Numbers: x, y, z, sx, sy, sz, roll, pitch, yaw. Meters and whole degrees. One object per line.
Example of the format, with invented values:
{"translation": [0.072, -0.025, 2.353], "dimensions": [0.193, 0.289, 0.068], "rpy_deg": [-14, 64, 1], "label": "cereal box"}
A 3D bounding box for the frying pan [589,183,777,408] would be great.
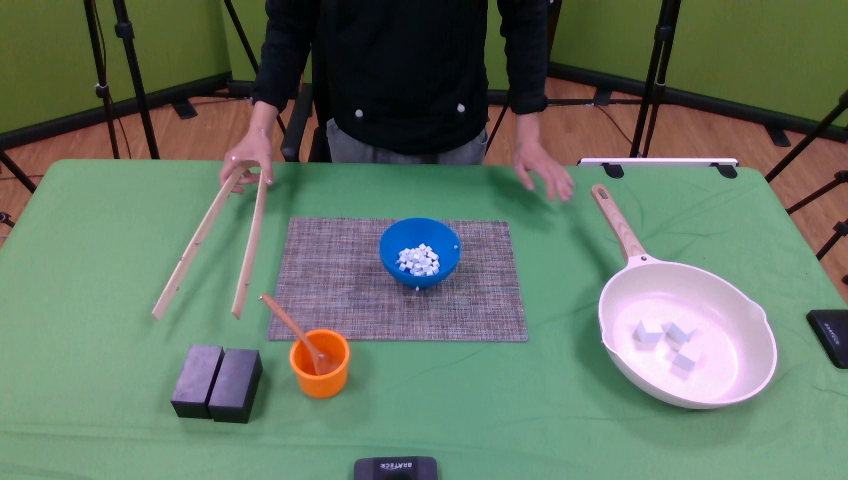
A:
{"translation": [0.412, 0.079, 1.096], "dimensions": [0.307, 0.103, 0.484], "rpy_deg": [-8, 56, -13], "label": "frying pan"}

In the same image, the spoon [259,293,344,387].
{"translation": [-0.191, 0.155, 0.947], "dimensions": [0.021, 0.194, 0.041], "rpy_deg": [-12, 28, 51], "label": "spoon"}

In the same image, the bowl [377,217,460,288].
{"translation": [-0.011, 0.036, 1.118], "dimensions": [0.151, 0.077, 0.150], "rpy_deg": [2, 46, -2], "label": "bowl"}

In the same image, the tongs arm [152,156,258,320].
{"translation": [-0.394, -0.018, 1.120], "dimensions": [0.050, 0.027, 0.382], "rpy_deg": [-1, 49, 15], "label": "tongs arm"}

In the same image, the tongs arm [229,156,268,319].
{"translation": [-0.319, -0.021, 1.106], "dimensions": [0.028, 0.028, 0.385], "rpy_deg": [-12, 48, 9], "label": "tongs arm"}
